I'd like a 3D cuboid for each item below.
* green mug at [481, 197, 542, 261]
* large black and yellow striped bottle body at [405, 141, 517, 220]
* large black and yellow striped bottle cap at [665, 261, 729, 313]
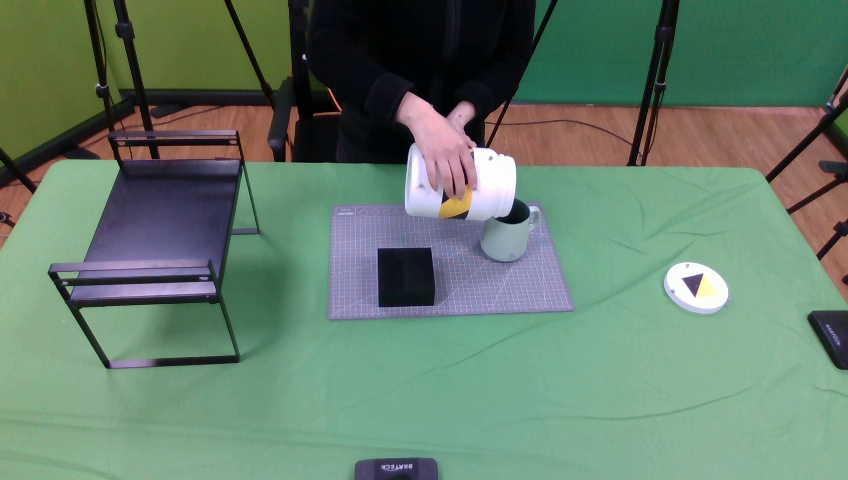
[{"bbox_3d":[0.174,-0.027,1.173,0.125,0.105,0.092,-22,51,-23],"label":"green mug"},{"bbox_3d":[0.063,-0.103,1.077,0.184,0.131,0.130,4,46,-6],"label":"large black and yellow striped bottle body"},{"bbox_3d":[0.518,0.087,1.152,0.115,0.019,0.114,2,47,-2],"label":"large black and yellow striped bottle cap"}]
